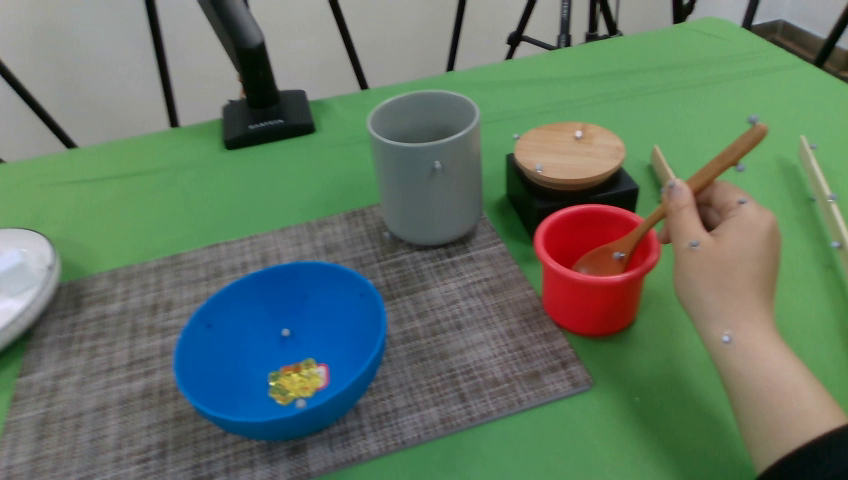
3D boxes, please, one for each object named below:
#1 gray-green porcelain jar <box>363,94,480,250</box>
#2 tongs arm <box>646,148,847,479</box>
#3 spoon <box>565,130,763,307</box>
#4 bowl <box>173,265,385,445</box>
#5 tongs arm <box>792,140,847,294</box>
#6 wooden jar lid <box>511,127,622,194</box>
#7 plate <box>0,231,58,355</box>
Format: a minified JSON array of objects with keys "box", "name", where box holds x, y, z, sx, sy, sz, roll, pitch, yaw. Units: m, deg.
[{"box":[0.001,-0.062,0.594,0.106,0.128,0.105,-4,40,4],"name":"gray-green porcelain jar"},{"box":[0.263,0.028,0.534,0.028,0.028,0.383,-3,40,0],"name":"tongs arm"},{"box":[0.172,-0.010,0.455,0.022,0.194,0.041,6,50,-29],"name":"spoon"},{"box":[-0.099,0.097,0.455,0.151,0.077,0.150,-4,39,3],"name":"bowl"},{"box":[0.344,0.025,0.521,0.050,0.027,0.381,3,41,12],"name":"tongs arm"},{"box":[0.142,-0.079,0.608,0.108,0.021,0.107,-4,40,4],"name":"wooden jar lid"},{"box":[-0.450,0.070,0.568,0.209,0.038,0.207,-4,40,4],"name":"plate"}]
